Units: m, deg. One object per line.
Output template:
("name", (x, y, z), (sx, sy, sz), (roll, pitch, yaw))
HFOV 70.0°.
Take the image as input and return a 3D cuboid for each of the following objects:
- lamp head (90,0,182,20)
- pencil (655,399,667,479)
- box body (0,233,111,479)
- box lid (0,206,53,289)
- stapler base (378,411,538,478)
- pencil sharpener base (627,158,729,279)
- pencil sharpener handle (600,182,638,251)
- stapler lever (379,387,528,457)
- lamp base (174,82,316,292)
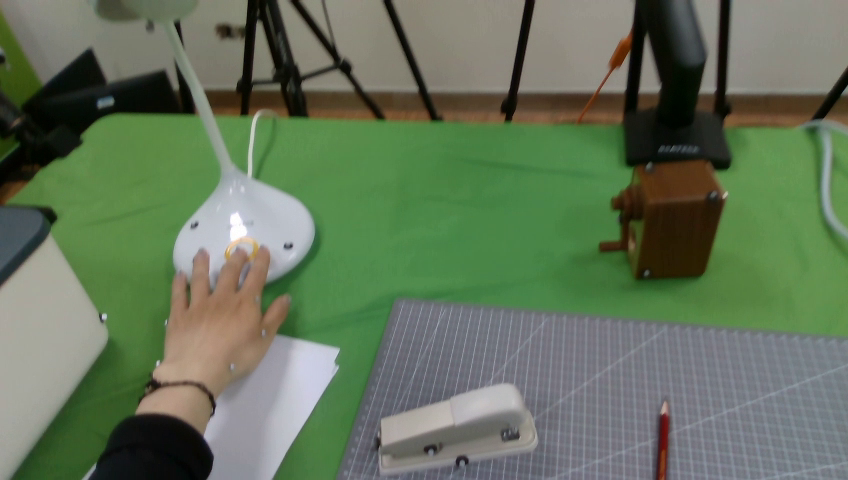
("lamp head", (-0.214, -0.235, 0.426), (0.112, 0.123, 0.112), (-34, 5, 4))
("pencil", (0.169, 0.195, 0.435), (0.012, 0.012, 0.193), (8, 44, 17))
("box body", (-0.468, 0.146, 0.475), (0.253, 0.162, 0.361), (4, 44, 13))
("box lid", (-0.476, 0.093, 0.424), (0.262, 0.015, 0.368), (4, 44, 13))
("stapler base", (0.026, 0.158, 0.487), (0.130, 0.025, 0.041), (-10, 41, 0))
("pencil sharpener base", (0.237, -0.018, 0.588), (0.076, 0.108, 0.061), (-4, 43, 5))
("pencil sharpener handle", (0.185, -0.020, 0.579), (0.030, 0.068, 0.036), (-4, 21, 5))
("stapler lever", (0.022, 0.141, 0.470), (0.118, 0.040, 0.026), (-9, 41, -1))
("lamp base", (-0.216, -0.064, 0.652), (0.161, 0.182, 0.177), (-18, 41, -10))
